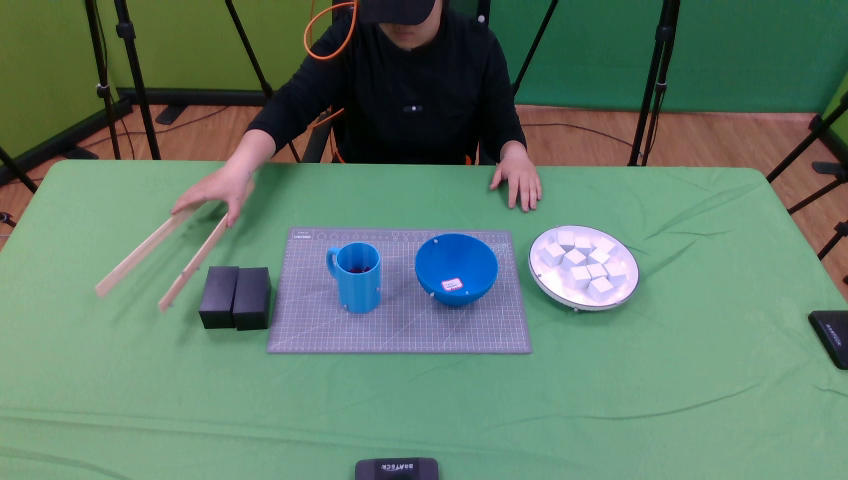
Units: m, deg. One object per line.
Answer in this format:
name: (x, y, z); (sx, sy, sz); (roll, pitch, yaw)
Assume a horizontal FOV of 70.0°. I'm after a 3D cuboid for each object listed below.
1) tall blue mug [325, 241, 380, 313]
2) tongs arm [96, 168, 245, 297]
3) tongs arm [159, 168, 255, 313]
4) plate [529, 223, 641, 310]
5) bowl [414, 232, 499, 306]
tall blue mug: (-0.130, 0.063, 1.062); (0.107, 0.108, 0.077); (9, 47, 5)
tongs arm: (-0.468, -0.028, 1.149); (0.028, 0.028, 0.386); (13, 43, 20)
tongs arm: (-0.404, -0.015, 1.136); (0.050, 0.026, 0.383); (9, 43, 12)
plate: (0.303, 0.053, 1.156); (0.209, 0.038, 0.208); (2, 46, -2)
bowl: (0.056, 0.066, 1.095); (0.151, 0.077, 0.150); (2, 46, -2)
